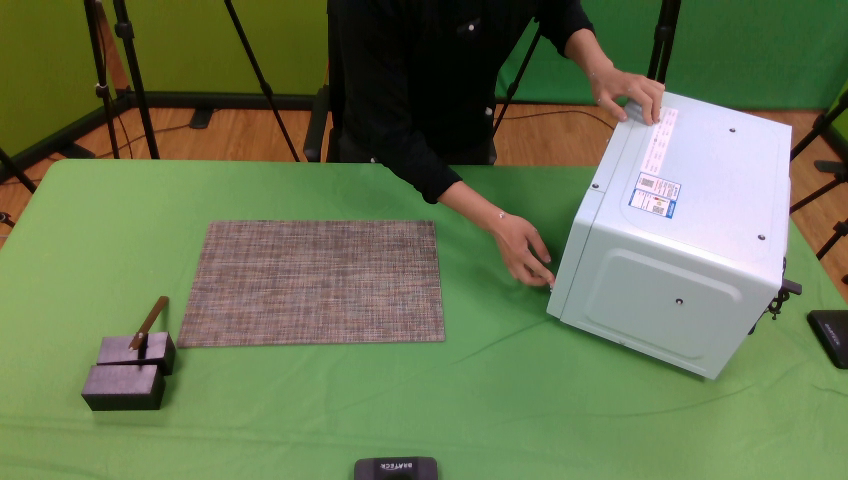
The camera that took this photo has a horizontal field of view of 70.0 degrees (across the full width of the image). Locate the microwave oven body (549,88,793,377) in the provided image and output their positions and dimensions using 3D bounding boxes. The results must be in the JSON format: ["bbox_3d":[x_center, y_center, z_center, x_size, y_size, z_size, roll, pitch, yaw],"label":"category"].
[{"bbox_3d":[0.456,-0.028,1.088,0.325,0.261,0.440,20,47,16],"label":"microwave oven body"}]

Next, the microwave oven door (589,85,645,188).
[{"bbox_3d":[0.342,-0.107,1.149,0.039,0.245,0.354,20,48,15],"label":"microwave oven door"}]

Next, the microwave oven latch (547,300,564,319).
[{"bbox_3d":[0.243,0.102,1.081,0.030,0.029,0.079,22,48,18],"label":"microwave oven latch"}]

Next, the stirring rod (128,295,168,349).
[{"bbox_3d":[-0.451,0.131,0.996,0.014,0.006,0.175,8,20,-10],"label":"stirring rod"}]
